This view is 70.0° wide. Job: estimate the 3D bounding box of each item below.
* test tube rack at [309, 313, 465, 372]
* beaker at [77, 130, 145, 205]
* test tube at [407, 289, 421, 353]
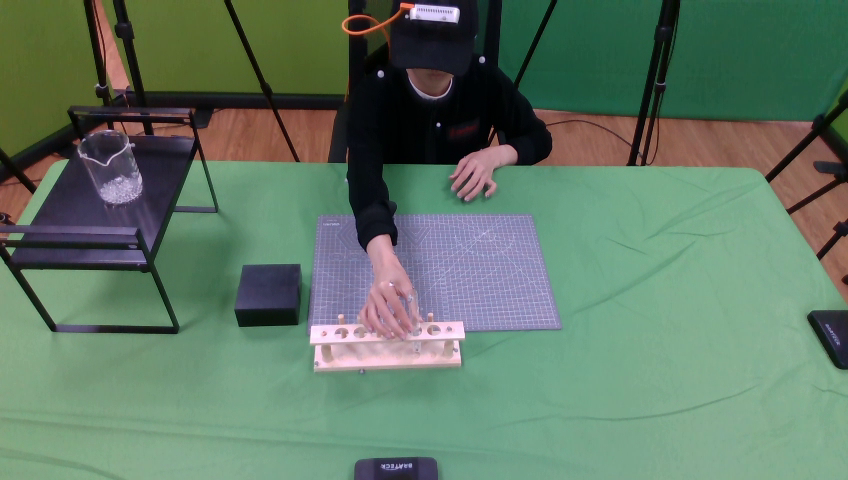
[{"bbox_3d":[-0.059,0.161,0.990,0.242,0.085,0.066,-1,46,-5],"label":"test tube rack"},{"bbox_3d":[-0.493,-0.111,0.965,0.074,0.101,0.083,-14,49,-16],"label":"beaker"},{"bbox_3d":[-0.015,0.129,0.943,0.017,0.151,0.017,-2,45,2],"label":"test tube"}]
